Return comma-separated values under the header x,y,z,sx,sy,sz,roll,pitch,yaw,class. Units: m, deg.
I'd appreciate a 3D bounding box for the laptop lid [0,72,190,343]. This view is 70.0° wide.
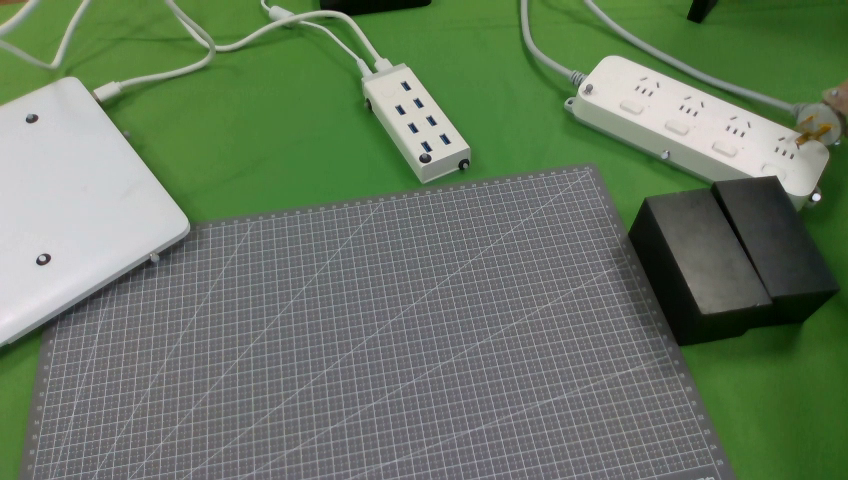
x,y,z,sx,sy,sz,roll,pitch,yaw,class
-0.389,0.009,0.462,0.356,0.013,0.239,-34,64,-20,laptop lid

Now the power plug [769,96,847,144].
x,y,z,sx,sy,sz,roll,pitch,yaw,class
0.321,-0.098,0.516,0.052,0.072,0.035,-35,106,-19,power plug

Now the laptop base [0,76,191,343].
x,y,z,sx,sy,sz,roll,pitch,yaw,class
-0.390,0.014,0.474,0.354,0.023,0.233,-36,66,-20,laptop base

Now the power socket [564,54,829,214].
x,y,z,sx,sy,sz,roll,pitch,yaw,class
0.235,-0.097,0.530,0.225,0.033,0.072,31,62,20,power socket

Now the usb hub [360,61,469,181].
x,y,z,sx,sy,sz,roll,pitch,yaw,class
-0.011,-0.110,0.546,0.049,0.025,0.124,-24,59,-14,usb hub
